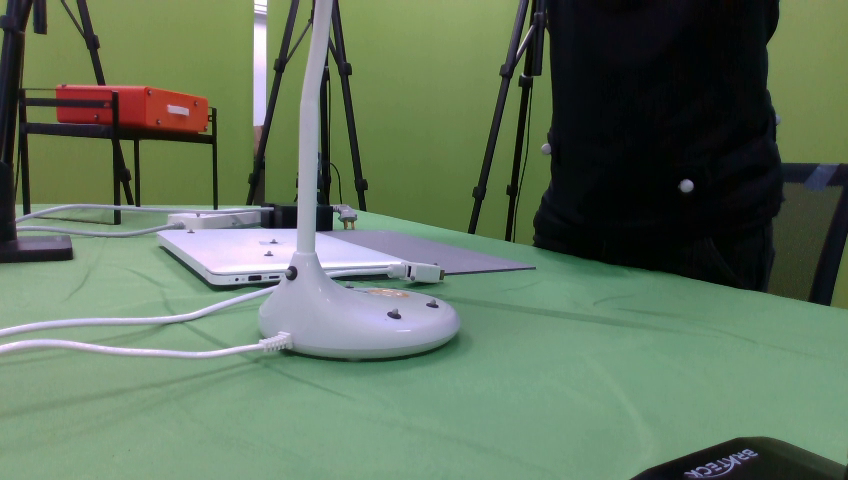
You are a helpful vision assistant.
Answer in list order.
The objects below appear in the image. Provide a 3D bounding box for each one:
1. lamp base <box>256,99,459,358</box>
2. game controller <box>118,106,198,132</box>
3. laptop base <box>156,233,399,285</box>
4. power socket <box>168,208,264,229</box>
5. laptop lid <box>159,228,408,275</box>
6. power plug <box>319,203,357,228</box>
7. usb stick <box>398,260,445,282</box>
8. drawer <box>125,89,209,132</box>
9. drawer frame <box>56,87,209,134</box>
[{"bbox_3d":[-0.055,-0.013,0.463,0.160,0.180,0.180,6,11,27],"label":"lamp base"},{"bbox_3d":[-0.554,-0.252,1.255,0.097,0.051,0.155,7,11,19],"label":"game controller"},{"bbox_3d":[-0.204,0.019,0.806,0.237,0.023,0.352,0,7,-33],"label":"laptop base"},{"bbox_3d":[-0.381,-0.038,1.128,0.072,0.032,0.227,4,8,16],"label":"power socket"},{"bbox_3d":[-0.201,0.007,0.806,0.243,0.013,0.355,-1,8,-31],"label":"laptop lid"},{"bbox_3d":[-0.170,-0.046,1.210,0.073,0.052,0.035,-6,-16,-7],"label":"power plug"},{"bbox_3d":[-0.001,0.036,0.696,0.027,0.021,0.059,7,0,43],"label":"usb stick"},{"bbox_3d":[-0.595,-0.268,1.263,0.211,0.073,0.195,4,8,15],"label":"drawer"},{"bbox_3d":[-0.598,-0.269,1.261,0.213,0.082,0.202,4,8,14],"label":"drawer frame"}]
